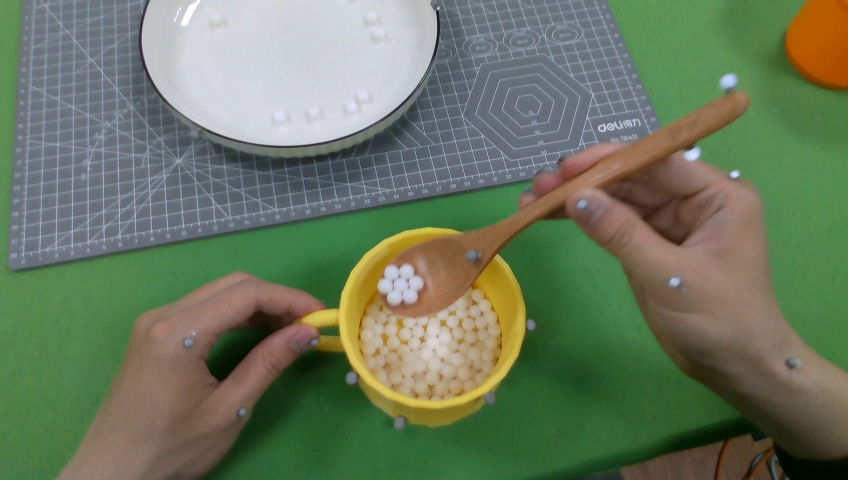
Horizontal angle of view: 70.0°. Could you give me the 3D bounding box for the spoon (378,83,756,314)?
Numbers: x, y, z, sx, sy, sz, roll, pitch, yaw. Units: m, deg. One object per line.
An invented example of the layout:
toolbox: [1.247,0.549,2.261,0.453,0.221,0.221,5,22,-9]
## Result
spoon: [0.057,-0.016,0.283,0.193,0.022,0.041,-31,64,26]

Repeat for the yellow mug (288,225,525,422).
yellow mug: [-0.012,0.050,0.346,0.131,0.064,0.099,-3,67,-3]

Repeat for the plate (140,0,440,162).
plate: [-0.092,-0.142,0.439,0.208,0.039,0.206,1,66,-2]
